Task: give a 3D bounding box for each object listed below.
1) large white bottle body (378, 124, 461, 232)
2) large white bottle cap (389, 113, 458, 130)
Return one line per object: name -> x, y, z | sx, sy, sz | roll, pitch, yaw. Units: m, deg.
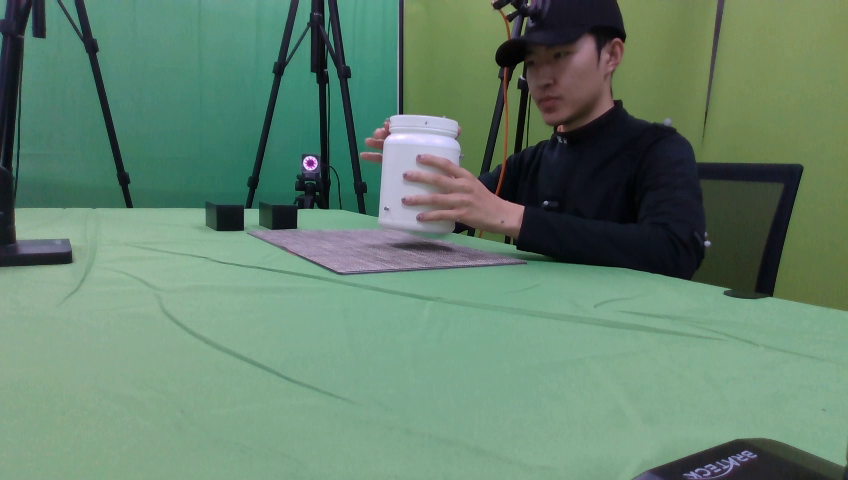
large white bottle body -> -0.007, -0.110, 1.007 | 0.131, 0.184, 0.130 | 4, 5, 0
large white bottle cap -> -0.001, -0.193, 1.000 | 0.115, 0.018, 0.115 | 4, 4, 0
